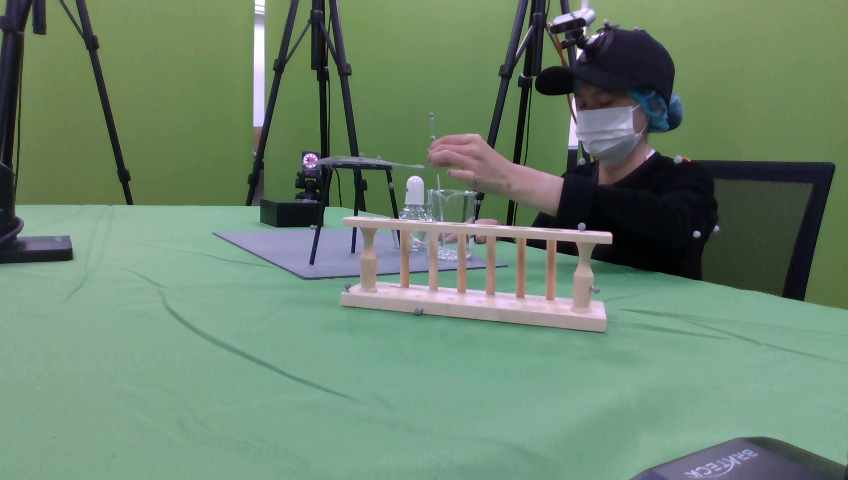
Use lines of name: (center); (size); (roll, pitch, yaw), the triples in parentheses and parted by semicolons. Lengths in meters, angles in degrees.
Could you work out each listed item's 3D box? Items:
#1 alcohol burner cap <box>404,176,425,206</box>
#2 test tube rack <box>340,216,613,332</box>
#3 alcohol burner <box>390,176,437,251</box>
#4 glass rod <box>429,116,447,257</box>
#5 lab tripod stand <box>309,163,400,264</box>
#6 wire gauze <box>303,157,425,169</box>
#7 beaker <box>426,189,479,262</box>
alcohol burner cap: (-0.015, -0.077, 0.952); (0.034, 0.048, 0.034); (1, 4, 0)
test tube rack: (0.048, 0.026, 0.568); (0.242, 0.085, 0.067); (4, 8, 13)
alcohol burner: (-0.016, -0.042, 0.955); (0.078, 0.119, 0.078); (4, 6, 0)
glass rod: (0.020, -0.075, 0.853); (0.008, 0.199, 0.008); (-6, 5, 1)
lab tripod stand: (-0.091, -0.037, 0.813); (0.148, 0.131, 0.148); (1, 6, 0)
wire gauze: (-0.082, -0.102, 0.799); (0.126, 0.011, 0.121); (-1, 7, -30)
beaker: (0.039, -0.022, 0.871); (0.074, 0.100, 0.084); (4, 8, 12)
